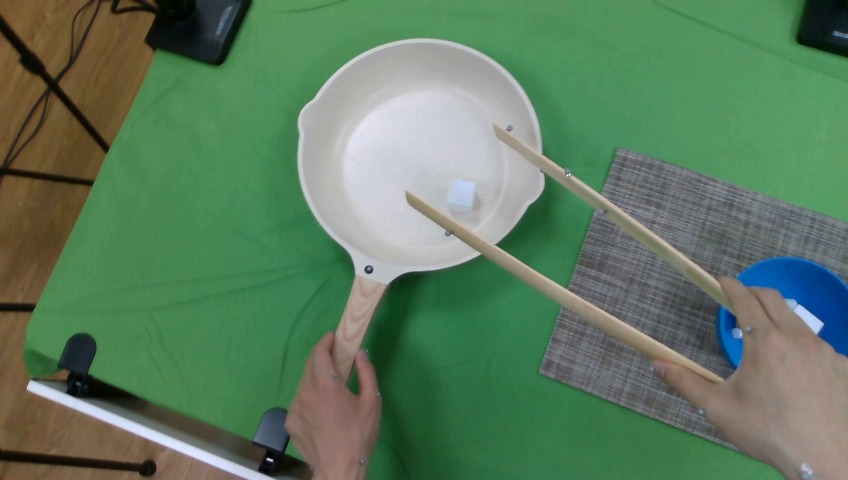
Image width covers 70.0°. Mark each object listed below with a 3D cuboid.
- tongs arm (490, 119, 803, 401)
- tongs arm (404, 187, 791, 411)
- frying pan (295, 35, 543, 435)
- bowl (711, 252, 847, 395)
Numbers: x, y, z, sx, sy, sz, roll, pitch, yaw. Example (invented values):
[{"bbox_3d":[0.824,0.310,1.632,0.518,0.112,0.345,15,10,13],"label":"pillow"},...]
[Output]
[{"bbox_3d":[0.171,-0.007,0.554,0.051,0.027,0.380,-37,53,-13],"label":"tongs arm"},{"bbox_3d":[0.118,0.037,0.538,0.384,0.028,0.028,32,64,33],"label":"tongs arm"},{"bbox_3d":[-0.043,-0.012,0.714,0.306,0.103,0.485,19,72,8],"label":"frying pan"},{"bbox_3d":[0.386,0.094,0.671,0.151,0.077,0.150,-1,78,4],"label":"bowl"}]
